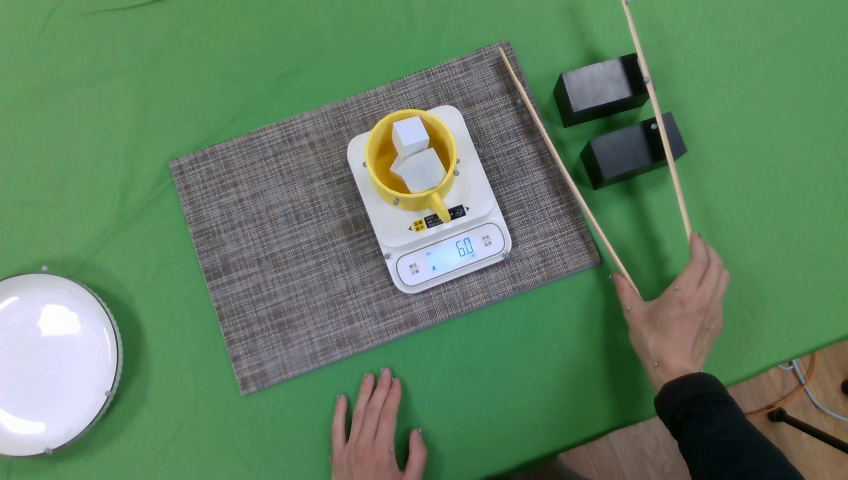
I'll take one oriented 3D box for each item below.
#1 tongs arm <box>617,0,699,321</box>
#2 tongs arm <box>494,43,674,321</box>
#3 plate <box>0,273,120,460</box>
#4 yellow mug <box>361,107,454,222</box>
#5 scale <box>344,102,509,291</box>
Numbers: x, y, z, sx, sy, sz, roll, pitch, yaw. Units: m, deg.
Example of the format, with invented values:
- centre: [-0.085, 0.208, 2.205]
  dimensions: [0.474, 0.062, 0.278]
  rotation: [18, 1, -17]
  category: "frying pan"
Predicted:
- centre: [0.249, -0.102, 0.683]
  dimensions: [0.050, 0.026, 0.383]
  rotation: [-17, 83, 18]
  category: "tongs arm"
- centre: [0.178, -0.072, 0.709]
  dimensions: [0.028, 0.028, 0.385]
  rotation: [-30, 79, 12]
  category: "tongs arm"
- centre: [-0.450, 0.143, 0.699]
  dimensions: [0.208, 0.039, 0.207]
  rotation: [0, 81, 1]
  category: "plate"
- centre: [-0.010, -0.077, 0.674]
  dimensions: [0.100, 0.064, 0.130]
  rotation: [-31, 83, -4]
  category: "yellow mug"
- centre: [0.002, -0.054, 0.718]
  dimensions: [0.149, 0.031, 0.200]
  rotation: [-21, 82, -1]
  category: "scale"
